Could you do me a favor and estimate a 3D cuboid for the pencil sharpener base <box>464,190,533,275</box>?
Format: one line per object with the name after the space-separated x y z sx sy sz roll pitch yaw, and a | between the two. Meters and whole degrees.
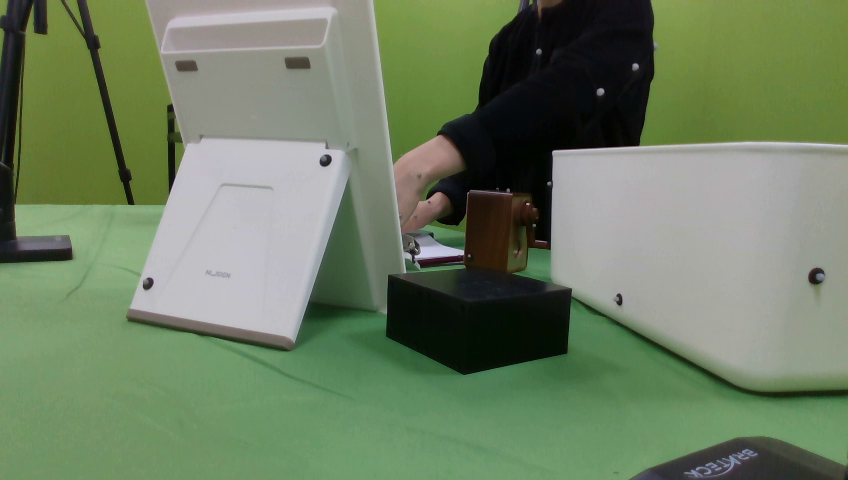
0.103 -0.012 0.813 0.076 0.107 0.061 9 9 36 | pencil sharpener base

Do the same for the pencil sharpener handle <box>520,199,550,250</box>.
0.147 -0.019 0.785 0.030 0.068 0.036 9 25 36 | pencil sharpener handle

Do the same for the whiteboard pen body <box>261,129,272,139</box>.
-0.361 -0.245 1.393 0.017 0.017 0.140 0 5 -20 | whiteboard pen body

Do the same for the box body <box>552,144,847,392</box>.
0.290 0.002 0.549 0.255 0.160 0.363 2 7 -10 | box body

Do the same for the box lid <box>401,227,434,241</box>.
-0.196 -0.015 1.105 0.373 0.015 0.262 -1 7 -32 | box lid

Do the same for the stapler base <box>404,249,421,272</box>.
-0.066 0.017 0.766 0.130 0.024 0.041 7 -21 25 | stapler base

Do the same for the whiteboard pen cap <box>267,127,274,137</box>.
-0.340 -0.239 1.337 0.018 0.018 0.033 1 -1 -14 | whiteboard pen cap

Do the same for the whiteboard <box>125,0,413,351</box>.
-0.151 -0.050 0.471 0.216 0.305 0.144 6 27 24 | whiteboard

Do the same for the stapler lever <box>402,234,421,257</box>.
-0.058 -0.005 0.774 0.117 0.040 0.027 6 -21 24 | stapler lever

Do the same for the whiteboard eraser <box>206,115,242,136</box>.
-0.438 -0.249 1.320 0.056 0.042 0.112 -3 9 -30 | whiteboard eraser

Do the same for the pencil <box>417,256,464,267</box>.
0.042 0.028 0.849 0.012 0.012 0.195 10 10 43 | pencil
